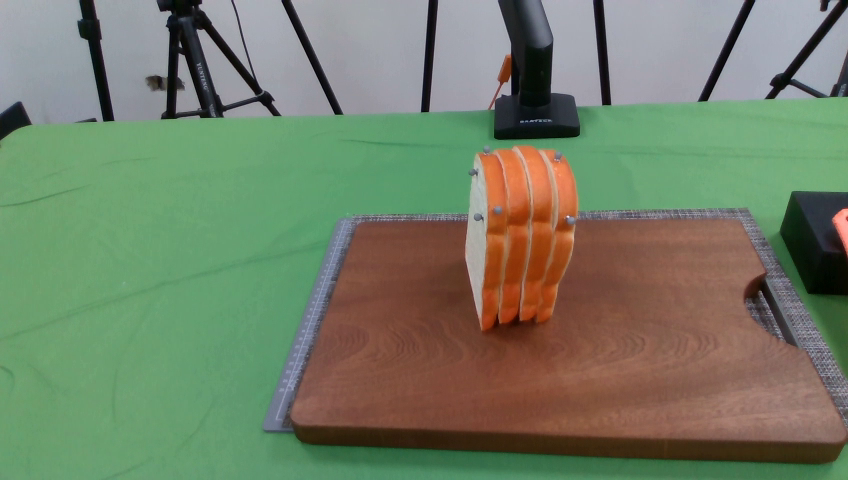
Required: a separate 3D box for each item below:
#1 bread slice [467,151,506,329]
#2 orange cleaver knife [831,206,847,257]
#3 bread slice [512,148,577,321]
[{"bbox_3d":[0.053,-0.008,0.527,0.018,0.135,0.106,-2,34,-3],"label":"bread slice"},{"bbox_3d":[0.384,0.050,0.497,0.077,0.012,0.210,10,58,13],"label":"orange cleaver knife"},{"bbox_3d":[0.103,-0.010,0.524,0.019,0.132,0.104,1,39,-7],"label":"bread slice"}]
